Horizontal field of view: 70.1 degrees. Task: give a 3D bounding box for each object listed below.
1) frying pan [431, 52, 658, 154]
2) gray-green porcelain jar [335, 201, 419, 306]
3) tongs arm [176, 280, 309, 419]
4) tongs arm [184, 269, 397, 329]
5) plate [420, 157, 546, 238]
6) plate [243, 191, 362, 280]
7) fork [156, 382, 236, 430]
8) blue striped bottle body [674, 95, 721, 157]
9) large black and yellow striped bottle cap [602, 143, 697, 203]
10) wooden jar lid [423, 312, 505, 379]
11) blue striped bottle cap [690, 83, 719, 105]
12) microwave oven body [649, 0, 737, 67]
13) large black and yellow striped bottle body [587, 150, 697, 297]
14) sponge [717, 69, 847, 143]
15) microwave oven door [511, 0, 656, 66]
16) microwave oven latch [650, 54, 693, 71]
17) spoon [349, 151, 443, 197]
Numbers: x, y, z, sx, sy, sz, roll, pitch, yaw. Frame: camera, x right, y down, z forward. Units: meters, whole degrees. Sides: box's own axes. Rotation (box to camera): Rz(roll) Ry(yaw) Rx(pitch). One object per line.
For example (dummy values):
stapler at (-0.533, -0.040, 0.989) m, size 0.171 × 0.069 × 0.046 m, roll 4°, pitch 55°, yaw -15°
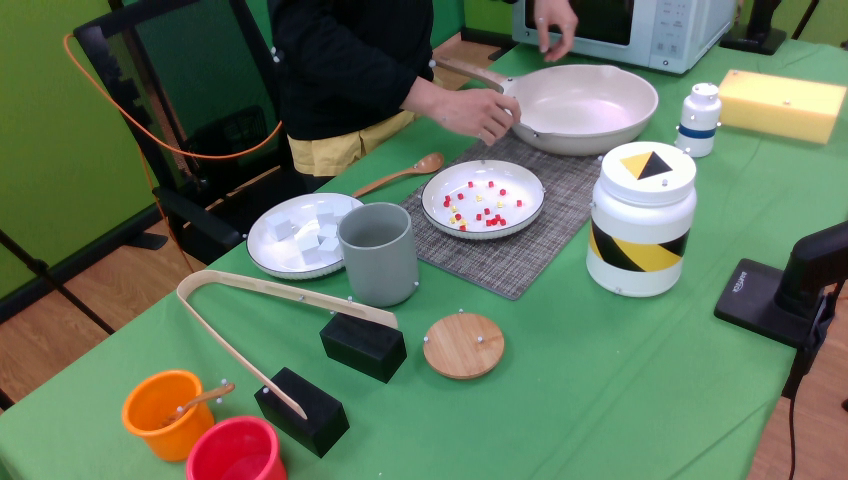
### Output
frying pan at (0.216, -0.302, 1.223) m, size 0.484 × 0.103 × 0.308 m, roll 29°, pitch 49°, yaw 25°
gray-green porcelain jar at (-0.064, 0.024, 0.872) m, size 0.106 × 0.127 × 0.105 m, roll -4°, pitch 41°, yaw 4°
tongs arm at (-0.254, 0.133, 0.801) m, size 0.028 × 0.028 × 0.384 m, roll -41°, pitch 40°, yaw -23°
tongs arm at (-0.202, 0.085, 0.847) m, size 0.382 × 0.027 × 0.051 m, roll 11°, pitch 45°, yaw 35°
plate at (0.099, -0.067, 1.017) m, size 0.209 × 0.038 × 0.208 m, roll -4°, pitch 40°, yaw 4°
plate at (-0.188, -0.005, 0.992) m, size 0.207 × 0.039 × 0.206 m, roll -4°, pitch 40°, yaw 4°
fork at (-0.262, 0.189, 0.690) m, size 0.018 × 0.206 × 0.028 m, roll 49°, pitch 43°, yaw -7°
blue striped bottle body at (0.486, -0.213, 1.071) m, size 0.063 × 0.121 × 0.063 m, roll -4°, pitch 41°, yaw 4°
large black and yellow striped bottle cap at (0.289, -0.089, 0.778) m, size 0.115 × 0.019 × 0.114 m, roll -4°, pitch 39°, yaw 4°
wooden jar lid at (0.053, 0.142, 0.800) m, size 0.108 × 0.021 × 0.108 m, roll -5°, pitch 39°, yaw 4°
blue striped bottle cap at (0.482, -0.251, 1.038) m, size 0.044 × 0.021 × 0.044 m, roll -5°, pitch 40°, yaw 5°
microwave oven body at (0.475, -0.602, 1.411) m, size 0.438 × 0.261 × 0.327 m, roll 23°, pitch 50°, yaw 32°
large black and yellow striped bottle body at (0.298, -0.026, 0.835) m, size 0.131 × 0.185 × 0.130 m, roll -4°, pitch 41°, yaw 4°
sponge at (0.663, -0.256, 1.142) m, size 0.205 × 0.061 × 0.118 m, roll 19°, pitch 47°, yaw 28°
microwave oven door at (0.351, -0.540, 1.350) m, size 0.353 × 0.245 × 0.039 m, roll 24°, pitch 50°, yaw 31°
microwave oven latch at (0.531, -0.386, 1.301) m, size 0.078 × 0.029 × 0.030 m, roll 26°, pitch 51°, yaw 33°
spoon at (-0.051, -0.122, 1.120) m, size 0.194 × 0.022 × 0.041 m, roll -23°, pitch 60°, yaw -18°
